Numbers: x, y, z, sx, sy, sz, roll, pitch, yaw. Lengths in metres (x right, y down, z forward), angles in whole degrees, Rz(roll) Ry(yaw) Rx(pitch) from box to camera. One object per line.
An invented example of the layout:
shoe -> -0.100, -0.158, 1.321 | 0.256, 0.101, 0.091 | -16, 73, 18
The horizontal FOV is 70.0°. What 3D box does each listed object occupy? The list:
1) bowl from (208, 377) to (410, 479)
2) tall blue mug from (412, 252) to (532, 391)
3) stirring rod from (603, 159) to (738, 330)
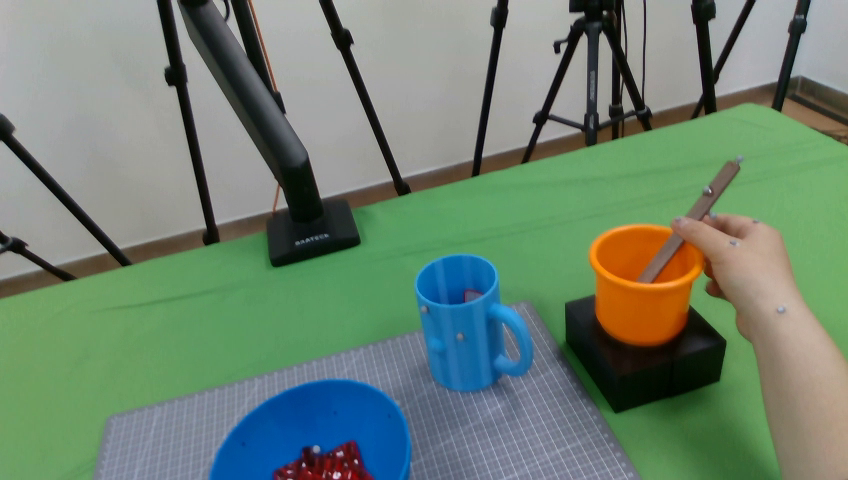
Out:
bowl -> -0.079, 0.188, 0.466 | 0.151, 0.077, 0.150 | -6, 35, 5
tall blue mug -> 0.049, 0.078, 0.565 | 0.107, 0.109, 0.077 | 1, 36, 15
stirring rod -> 0.211, 0.005, 0.521 | 0.176, 0.006, 0.014 | -56, 40, 8
